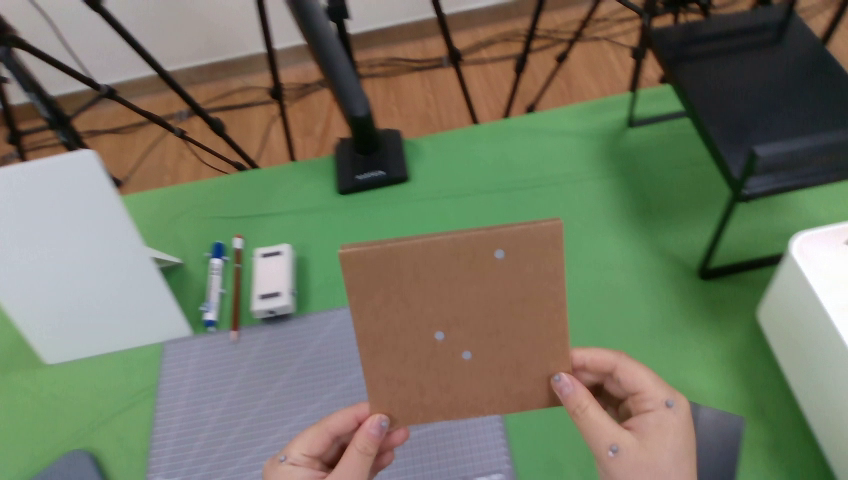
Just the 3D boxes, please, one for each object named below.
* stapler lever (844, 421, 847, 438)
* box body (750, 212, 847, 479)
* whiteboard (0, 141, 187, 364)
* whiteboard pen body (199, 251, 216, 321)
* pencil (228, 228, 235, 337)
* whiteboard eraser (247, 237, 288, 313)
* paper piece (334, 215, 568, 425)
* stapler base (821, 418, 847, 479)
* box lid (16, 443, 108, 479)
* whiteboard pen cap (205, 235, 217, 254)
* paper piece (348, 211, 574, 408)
[{"bbox_3d":[0.471,0.240,0.617,0.027,0.040,0.117,-15,59,2],"label":"stapler lever"},{"bbox_3d":[0.542,0.150,0.620,0.254,0.162,0.360,-12,55,1],"label":"box body"},{"bbox_3d":[-0.474,-0.006,0.830,0.217,0.308,0.142,-11,36,1],"label":"whiteboard"},{"bbox_3d":[-0.321,0.057,0.902,0.017,0.017,0.139,-10,55,2],"label":"whiteboard pen body"},{"bbox_3d":[-0.285,0.059,0.900,0.012,0.012,0.192,-13,55,0],"label":"pencil"},{"bbox_3d":[-0.226,0.052,0.878,0.055,0.042,0.111,-12,55,2],"label":"whiteboard eraser"},{"bbox_3d":[0.023,0.056,0.379,0.135,0.136,0.004,-7,24,2],"label":"paper piece"},{"bbox_3d":[0.474,0.252,0.640,0.041,0.024,0.129,-15,59,2],"label":"stapler base"},{"bbox_3d":[-0.428,0.433,0.666,0.263,0.015,0.368,-38,59,-17],"label":"box lid"},{"bbox_3d":[-0.328,0.010,0.935,0.018,0.018,0.033,-12,54,0],"label":"whiteboard pen cap"},{"bbox_3d":[0.024,0.050,0.396,0.135,0.139,0.008,-4,18,19],"label":"paper piece"}]
